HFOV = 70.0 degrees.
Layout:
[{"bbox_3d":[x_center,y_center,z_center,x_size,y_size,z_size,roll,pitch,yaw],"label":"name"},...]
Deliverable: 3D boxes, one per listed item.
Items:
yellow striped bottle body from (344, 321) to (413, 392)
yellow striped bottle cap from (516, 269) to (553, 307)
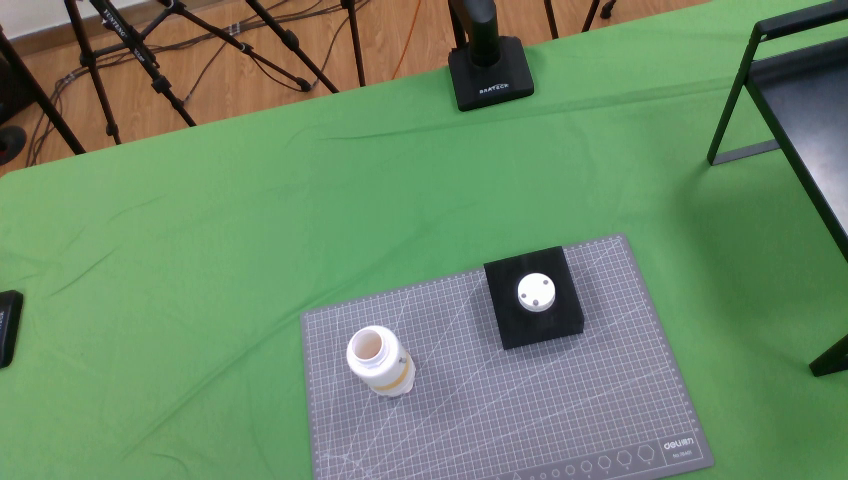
[{"bbox_3d":[-0.054,0.136,0.717,0.063,0.121,0.062,-4,63,9],"label":"yellow striped bottle body"},{"bbox_3d":[0.132,0.057,0.723,0.044,0.019,0.044,-4,65,8],"label":"yellow striped bottle cap"}]
